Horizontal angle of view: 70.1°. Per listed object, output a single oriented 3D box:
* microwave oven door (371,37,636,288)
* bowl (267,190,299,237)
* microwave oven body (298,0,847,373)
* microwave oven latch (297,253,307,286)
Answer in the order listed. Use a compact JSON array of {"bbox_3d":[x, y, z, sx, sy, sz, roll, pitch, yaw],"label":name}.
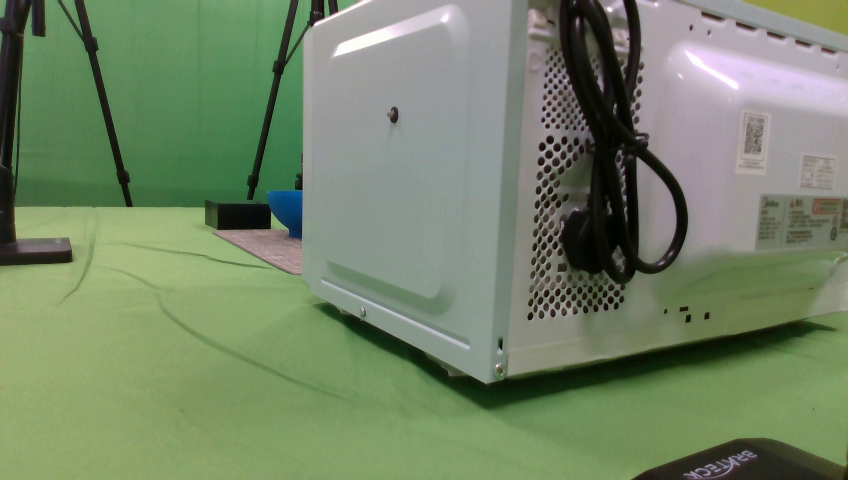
[{"bbox_3d":[0.109,-0.080,0.687,0.358,0.243,0.039,-2,9,-33],"label":"microwave oven door"},{"bbox_3d":[-0.202,-0.046,1.069,0.151,0.077,0.151,3,7,0],"label":"bowl"},{"bbox_3d":[0.151,-0.055,0.543,0.444,0.260,0.324,-1,7,-33],"label":"microwave oven body"},{"bbox_3d":[-0.082,0.027,0.582,0.079,0.029,0.030,-1,7,-32],"label":"microwave oven latch"}]
